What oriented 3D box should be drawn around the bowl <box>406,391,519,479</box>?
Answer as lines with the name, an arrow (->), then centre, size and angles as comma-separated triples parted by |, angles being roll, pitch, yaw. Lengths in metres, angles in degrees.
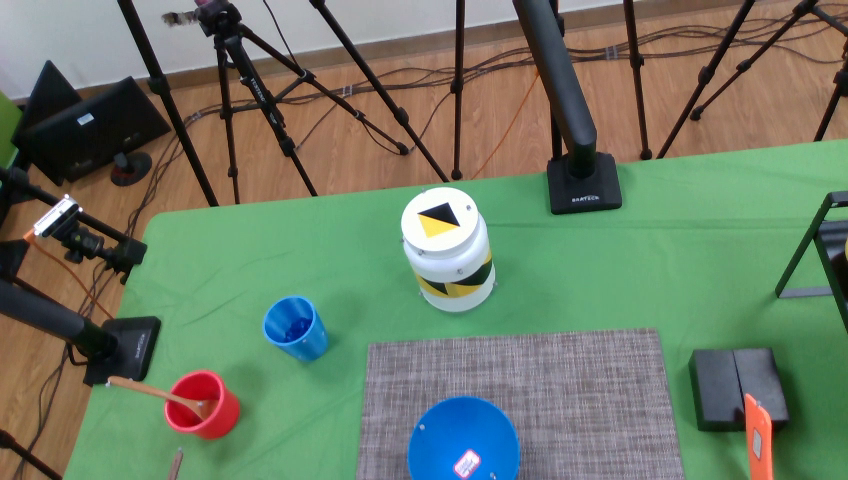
bowl -> 0.056, 0.291, 0.827 | 0.151, 0.077, 0.150 | -6, 57, 10

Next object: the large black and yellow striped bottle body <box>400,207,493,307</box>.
large black and yellow striped bottle body -> 0.037, 0.010, 0.952 | 0.130, 0.186, 0.129 | -6, 57, 9

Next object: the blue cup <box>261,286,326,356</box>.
blue cup -> -0.202, 0.141, 0.973 | 0.092, 0.101, 0.092 | -5, 59, 8

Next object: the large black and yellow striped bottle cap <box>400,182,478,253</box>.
large black and yellow striped bottle cap -> 0.021, -0.035, 0.882 | 0.115, 0.019, 0.114 | -6, 57, 10

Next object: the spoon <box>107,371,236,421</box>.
spoon -> -0.385, 0.235, 0.931 | 0.195, 0.021, 0.041 | 27, 56, -22

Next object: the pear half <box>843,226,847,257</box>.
pear half -> 0.505, -0.013, 0.695 | 0.031, 0.089, 0.070 | 27, 71, 26

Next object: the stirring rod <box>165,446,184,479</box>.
stirring rod -> -0.363, 0.372, 0.831 | 0.014, 0.006, 0.174 | 2, 59, 11

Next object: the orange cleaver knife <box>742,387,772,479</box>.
orange cleaver knife -> 0.415, 0.291, 0.745 | 0.012, 0.077, 0.211 | -5, 87, 6
